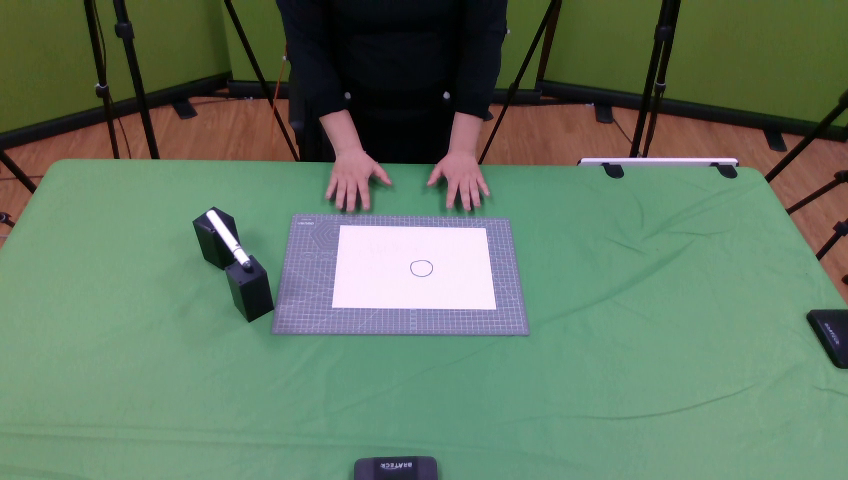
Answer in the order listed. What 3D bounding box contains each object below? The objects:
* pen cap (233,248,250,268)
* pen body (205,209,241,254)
[{"bbox_3d":[-0.303,0.031,1.008,0.017,0.017,0.038,-28,56,-28],"label":"pen cap"},{"bbox_3d":[-0.340,-0.006,1.042,0.017,0.017,0.143,-27,53,-27],"label":"pen body"}]
